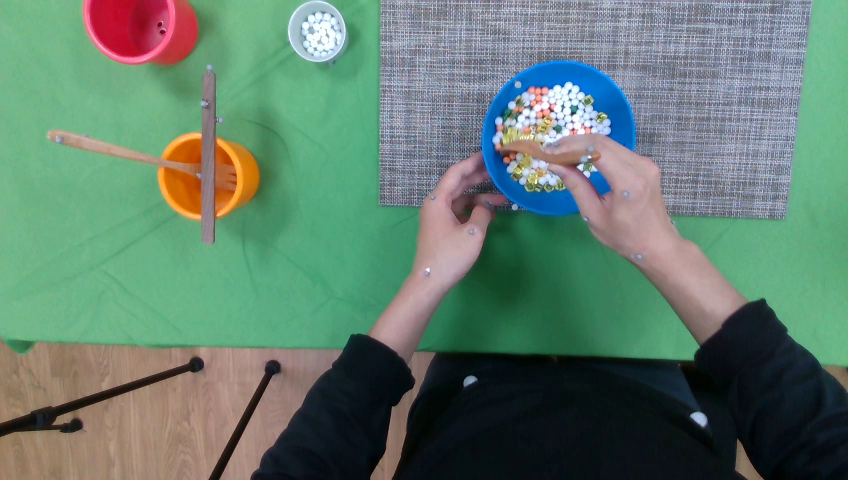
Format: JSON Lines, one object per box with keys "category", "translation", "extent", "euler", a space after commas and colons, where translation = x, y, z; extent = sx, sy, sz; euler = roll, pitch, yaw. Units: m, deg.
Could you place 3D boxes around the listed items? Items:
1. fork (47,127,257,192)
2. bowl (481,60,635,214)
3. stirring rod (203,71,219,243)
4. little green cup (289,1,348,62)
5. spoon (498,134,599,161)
{"category": "fork", "translation": [-0.273, -0.083, 0.632], "extent": [0.209, 0.018, 0.028], "euler": [12, 106, -42]}
{"category": "bowl", "translation": [0.134, -0.105, 0.631], "extent": [0.151, 0.076, 0.152], "euler": [1, 100, 4]}
{"category": "stirring rod", "translation": [-0.219, -0.084, 0.625], "extent": [0.014, 0.006, 0.176], "euler": [4, 100, 5]}
{"category": "little green cup", "translation": [-0.111, -0.221, 0.653], "extent": [0.061, 0.038, 0.062], "euler": [1, 100, 5]}
{"category": "spoon", "translation": [0.111, -0.081, 0.548], "extent": [0.042, 0.192, 0.022], "euler": [-4, 105, -12]}
